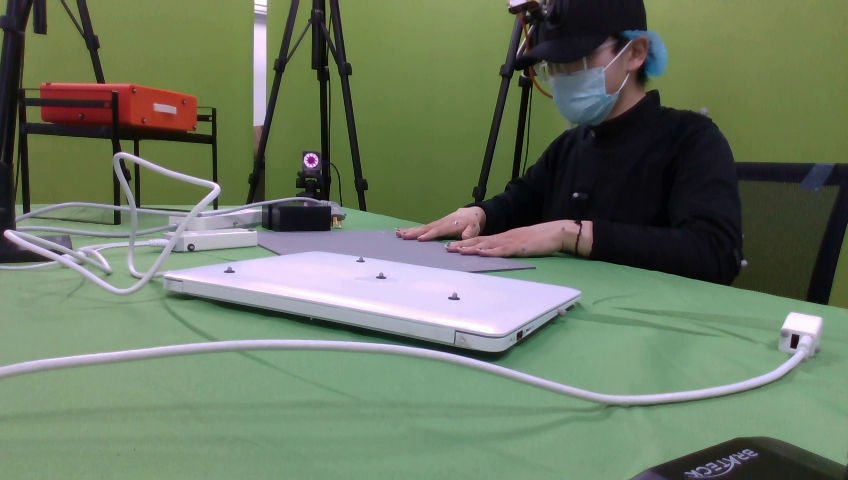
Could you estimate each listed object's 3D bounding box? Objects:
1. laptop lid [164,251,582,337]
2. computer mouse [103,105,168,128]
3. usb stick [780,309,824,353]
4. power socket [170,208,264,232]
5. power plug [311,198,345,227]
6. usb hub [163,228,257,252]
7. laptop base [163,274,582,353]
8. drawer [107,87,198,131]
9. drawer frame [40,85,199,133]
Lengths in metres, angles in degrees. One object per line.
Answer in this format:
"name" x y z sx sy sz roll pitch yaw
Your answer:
"laptop lid" -0.045 0.040 0.599 0.355 0.013 0.243 7 7 30
"computer mouse" -0.582 -0.249 1.223 0.118 0.041 0.062 2 3 -39
"usb stick" 0.311 0.072 0.497 0.027 0.021 0.059 8 16 34
"power socket" -0.381 -0.038 1.129 0.072 0.032 0.227 4 8 15
"power plug" -0.195 -0.053 1.220 0.073 0.052 0.035 4 -22 -20
"usb hub" -0.313 -0.001 0.894 0.049 0.025 0.126 9 10 41
"laptop base" -0.046 0.052 0.598 0.353 0.023 0.236 6 6 28
"drawer" -0.609 -0.265 1.235 0.211 0.073 0.195 4 8 16
"drawer frame" -0.612 -0.266 1.235 0.213 0.082 0.202 4 8 14
